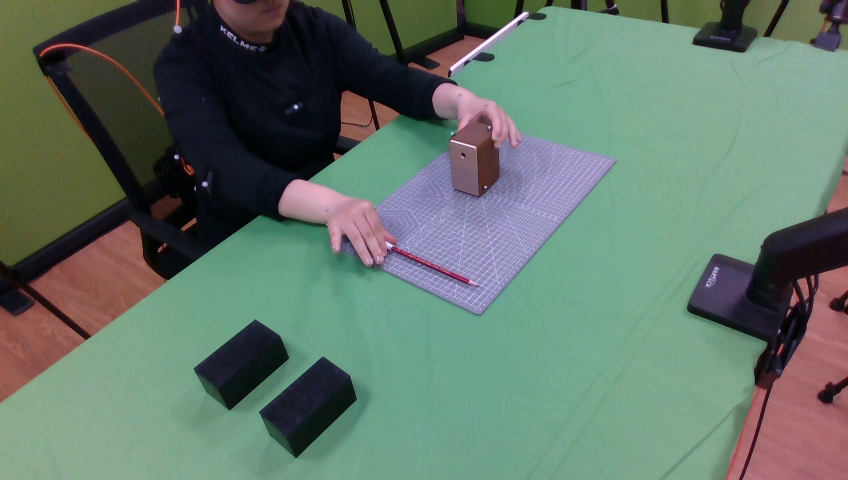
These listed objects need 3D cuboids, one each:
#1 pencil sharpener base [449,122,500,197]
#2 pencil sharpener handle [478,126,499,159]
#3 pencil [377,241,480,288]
[{"bbox_3d":[0.091,-0.141,1.053,0.061,0.107,0.077,20,47,30],"label":"pencil sharpener base"},{"bbox_3d":[0.119,-0.179,1.075,0.035,0.068,0.031,19,46,31],"label":"pencil sharpener handle"},{"bbox_3d":[0.004,0.037,0.929,0.192,0.012,0.012,23,49,29],"label":"pencil"}]
